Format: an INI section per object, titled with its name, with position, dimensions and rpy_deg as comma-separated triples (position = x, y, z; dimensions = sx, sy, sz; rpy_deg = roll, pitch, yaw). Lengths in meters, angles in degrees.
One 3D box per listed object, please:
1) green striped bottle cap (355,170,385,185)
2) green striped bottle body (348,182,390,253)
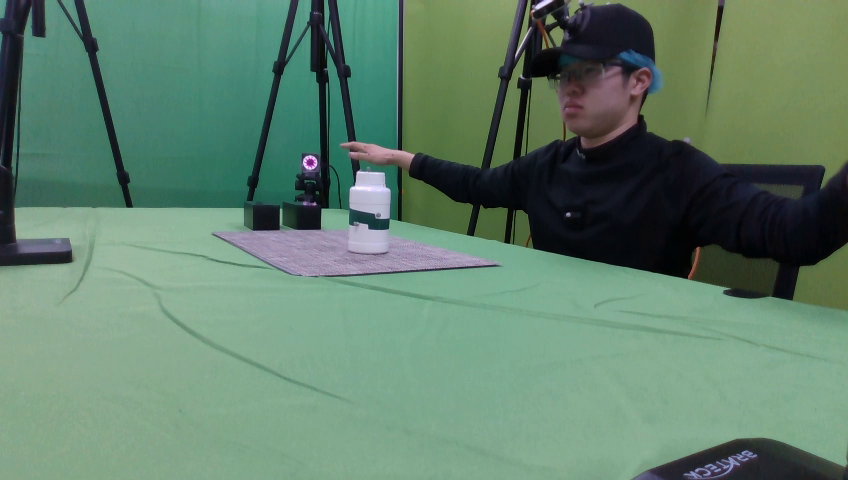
[green striped bottle cap]
position = -0.080, -0.094, 0.907
dimensions = 0.044, 0.020, 0.044
rpy_deg = 3, 9, 0
[green striped bottle body]
position = -0.083, -0.043, 0.914
dimensions = 0.063, 0.119, 0.063
rpy_deg = 2, 7, 0
